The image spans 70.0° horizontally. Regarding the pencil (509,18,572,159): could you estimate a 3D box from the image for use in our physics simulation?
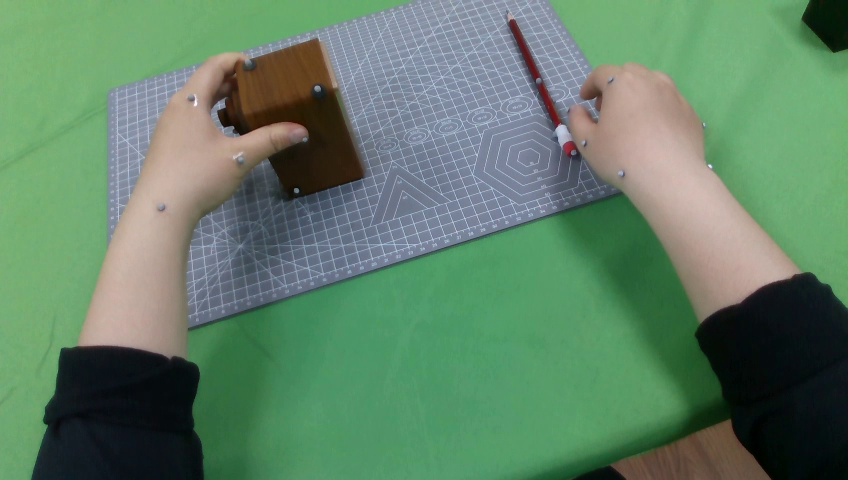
[{"bbox_3d":[0.101,-0.146,0.552,0.012,0.012,0.192,-12,55,0],"label":"pencil"}]

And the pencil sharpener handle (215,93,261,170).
[{"bbox_3d":[-0.151,-0.081,0.473,0.030,0.068,0.035,-18,56,-3],"label":"pencil sharpener handle"}]

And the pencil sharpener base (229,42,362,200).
[{"bbox_3d":[-0.101,-0.091,0.486,0.077,0.108,0.060,-18,58,-3],"label":"pencil sharpener base"}]
